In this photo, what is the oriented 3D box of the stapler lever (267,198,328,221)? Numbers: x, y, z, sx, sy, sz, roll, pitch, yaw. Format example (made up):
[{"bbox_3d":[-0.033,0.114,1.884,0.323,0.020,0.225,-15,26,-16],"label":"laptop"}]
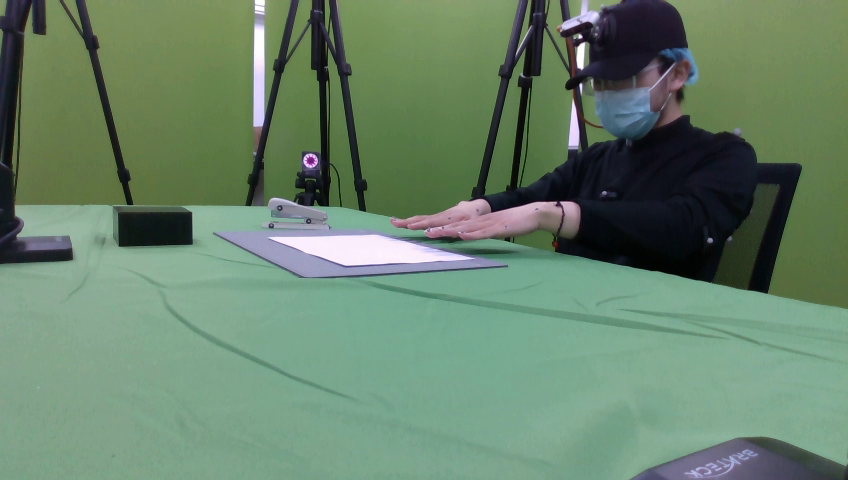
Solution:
[{"bbox_3d":[-0.250,-0.061,1.198,0.118,0.040,0.027,3,10,-8],"label":"stapler lever"}]

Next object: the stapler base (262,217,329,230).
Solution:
[{"bbox_3d":[-0.253,-0.036,1.201,0.131,0.024,0.041,3,10,-8],"label":"stapler base"}]
